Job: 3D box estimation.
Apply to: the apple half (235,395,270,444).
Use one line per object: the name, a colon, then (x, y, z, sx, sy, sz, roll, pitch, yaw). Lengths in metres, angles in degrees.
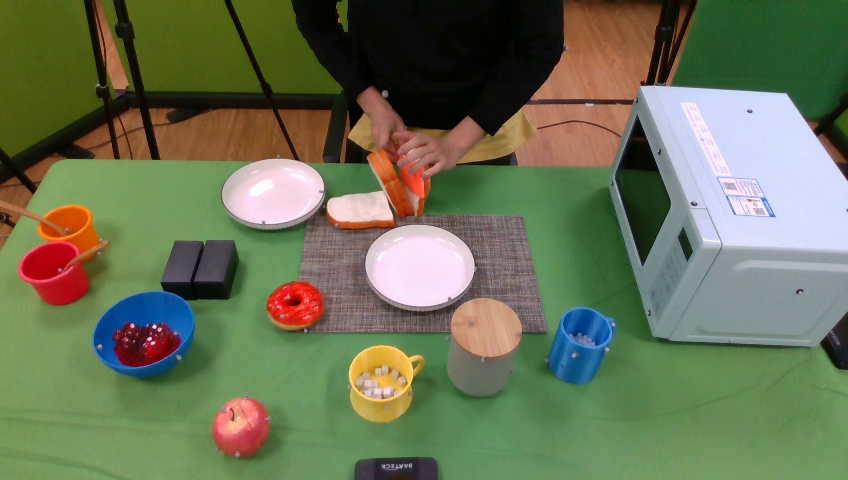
apple half: (-0.245, 0.260, 0.893, 0.033, 0.082, 0.081, -29, 55, -22)

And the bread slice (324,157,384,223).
bread slice: (-0.144, -0.096, 1.206, 0.134, 0.018, 0.106, -33, 49, 20)

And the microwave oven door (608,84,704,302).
microwave oven door: (0.424, -0.096, 1.138, 0.039, 0.245, 0.353, 3, 46, -1)

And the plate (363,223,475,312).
plate: (-0.009, 0.054, 1.126, 0.208, 0.039, 0.206, 2, 46, -2)

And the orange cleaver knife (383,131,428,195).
orange cleaver knife: (-0.039, -0.163, 1.258, 0.012, 0.077, 0.210, -20, 38, -16)

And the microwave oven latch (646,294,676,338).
microwave oven latch: (0.412, 0.133, 1.060, 0.030, 0.029, 0.078, 3, 46, 0)

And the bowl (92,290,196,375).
bowl: (-0.436, 0.161, 0.971, 0.151, 0.077, 0.150, 2, 46, -2)

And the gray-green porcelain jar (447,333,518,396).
gray-green porcelain jar: (0.091, 0.178, 0.960, 0.106, 0.127, 0.105, 2, 46, -2)

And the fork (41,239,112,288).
fork: (-0.591, 0.040, 1.028, 0.207, 0.019, 0.028, -27, 37, 29)

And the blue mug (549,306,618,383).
blue mug: (0.269, 0.167, 0.997, 0.116, 0.106, 0.082, -19, 51, -21)

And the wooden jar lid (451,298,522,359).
wooden jar lid: (0.093, 0.135, 0.914, 0.108, 0.021, 0.107, 3, 48, -3)

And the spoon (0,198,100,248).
spoon: (-0.684, -0.035, 1.092, 0.021, 0.195, 0.041, -34, 41, 26)

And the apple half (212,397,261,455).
apple half: (-0.276, 0.277, 0.877, 0.053, 0.075, 0.080, -29, 58, -21)

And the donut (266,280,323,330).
donut: (-0.223, 0.113, 1.051, 0.099, 0.048, 0.098, 2, 46, -2)

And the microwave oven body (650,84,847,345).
microwave oven body: (0.569, -0.054, 1.116, 0.326, 0.261, 0.439, 2, 46, -1)

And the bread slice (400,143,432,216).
bread slice: (-0.014, -0.130, 1.244, 0.019, 0.132, 0.104, -9, 46, -24)

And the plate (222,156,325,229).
plate: (-0.308, -0.095, 1.251, 0.209, 0.038, 0.208, 2, 46, -2)

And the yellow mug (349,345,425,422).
yellow mug: (-0.054, 0.217, 0.954, 0.131, 0.064, 0.099, -23, 52, -25)
